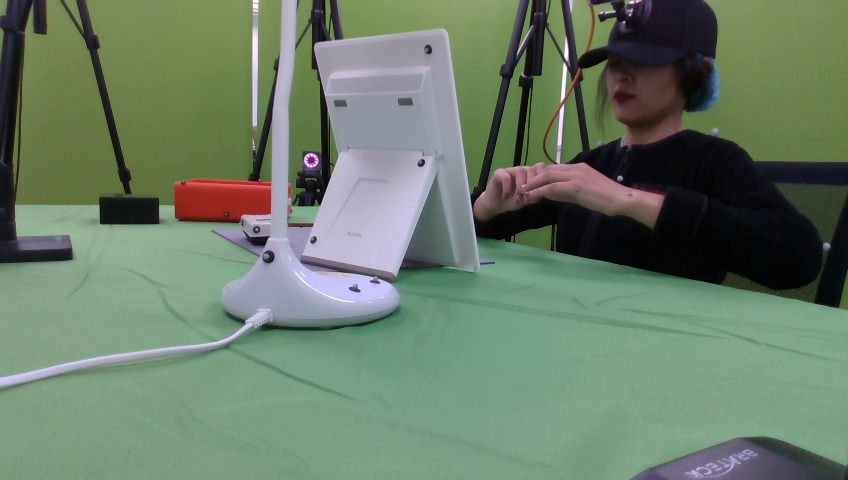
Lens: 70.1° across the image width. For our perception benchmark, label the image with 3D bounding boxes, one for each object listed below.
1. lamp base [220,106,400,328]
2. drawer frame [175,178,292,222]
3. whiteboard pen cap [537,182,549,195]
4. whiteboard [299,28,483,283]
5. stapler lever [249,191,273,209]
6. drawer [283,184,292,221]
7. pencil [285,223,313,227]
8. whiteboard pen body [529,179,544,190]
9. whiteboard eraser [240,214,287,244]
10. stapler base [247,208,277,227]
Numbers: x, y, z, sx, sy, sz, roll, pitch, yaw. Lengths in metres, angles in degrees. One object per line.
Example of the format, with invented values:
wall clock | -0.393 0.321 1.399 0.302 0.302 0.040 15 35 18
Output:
lamp base | -0.101 -0.023 0.531 0.160 0.180 0.179 4 10 10
drawer frame | -0.402 -0.087 1.311 0.214 0.082 0.201 1 8 -9
whiteboard pen cap | 0.185 -0.081 0.941 0.018 0.018 0.033 4 16 9
whiteboard | -0.075 -0.082 0.741 0.216 0.305 0.144 9 30 38
stapler lever | -0.352 -0.086 1.306 0.027 0.040 0.118 0 5 -3
drawer | -0.397 -0.086 1.314 0.212 0.073 0.194 1 8 -9
pencil | -0.234 -0.030 1.198 0.195 0.012 0.012 0 8 -20
whiteboard pen body | 0.193 -0.094 1.025 0.017 0.017 0.141 3 4 5
whiteboard eraser | -0.256 -0.018 0.958 0.056 0.042 0.112 0 8 -25
stapler base | -0.350 -0.054 1.310 0.041 0.024 0.130 0 13 -3
